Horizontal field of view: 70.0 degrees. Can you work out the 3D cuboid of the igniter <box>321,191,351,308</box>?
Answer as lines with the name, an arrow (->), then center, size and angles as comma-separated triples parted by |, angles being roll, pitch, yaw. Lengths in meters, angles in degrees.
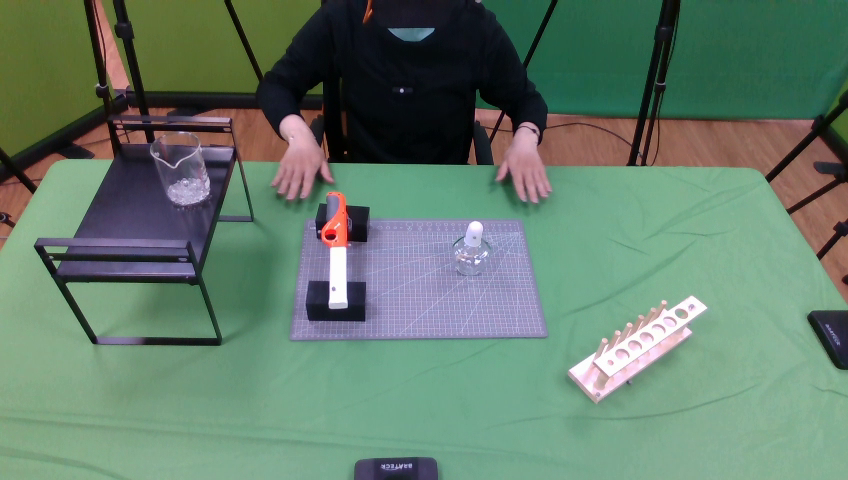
igniter -> -0.159, 0.008, 1.101 | 0.057, 0.025, 0.274 | -2, 48, -7

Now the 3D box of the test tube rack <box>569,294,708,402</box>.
test tube rack -> 0.360, 0.167, 1.015 | 0.242, 0.085, 0.066 | -25, 52, -25

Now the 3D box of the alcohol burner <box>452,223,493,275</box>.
alcohol burner -> 0.091, 0.008, 1.124 | 0.078, 0.119, 0.077 | 2, 48, -2

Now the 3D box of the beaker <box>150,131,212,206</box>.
beaker -> -0.385, -0.110, 0.969 | 0.074, 0.101, 0.083 | -6, 48, -9

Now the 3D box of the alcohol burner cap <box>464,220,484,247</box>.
alcohol burner cap -> 0.092, -0.015, 1.098 | 0.034, 0.048, 0.033 | 5, 44, -4
